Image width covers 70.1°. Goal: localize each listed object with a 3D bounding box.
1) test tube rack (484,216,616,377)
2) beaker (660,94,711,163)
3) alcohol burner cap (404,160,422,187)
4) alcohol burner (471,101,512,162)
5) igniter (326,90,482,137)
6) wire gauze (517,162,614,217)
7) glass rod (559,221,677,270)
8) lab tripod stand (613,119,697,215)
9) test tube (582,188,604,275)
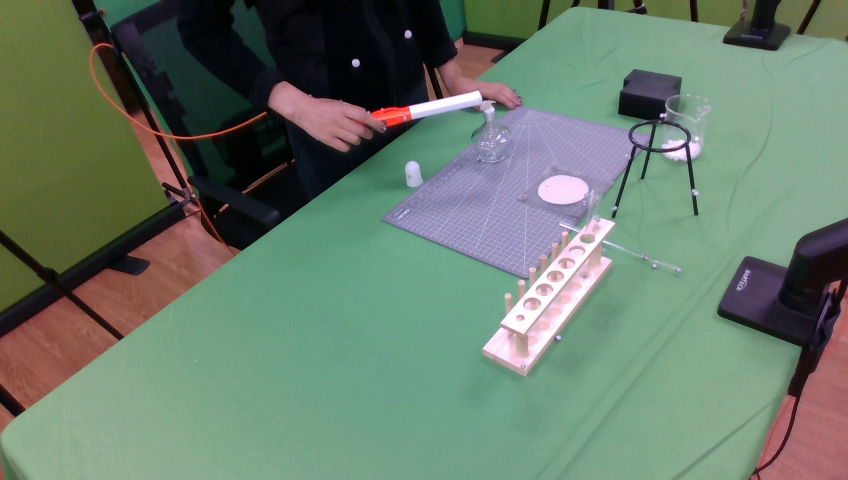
[{"bbox_3d":[0.174,0.064,0.823,0.066,0.085,0.243,23,49,33],"label":"test tube rack"},{"bbox_3d":[0.457,-0.192,1.063,0.074,0.101,0.083,-7,41,4],"label":"beaker"},{"bbox_3d":[-0.022,-0.125,1.118,0.034,0.048,0.033,-4,41,4],"label":"alcohol burner cap"},{"bbox_3d":[0.125,-0.207,1.126,0.078,0.119,0.077,-5,43,5],"label":"alcohol burner"},{"bbox_3d":[-0.036,-0.222,1.061,0.277,0.025,0.057,-12,37,0],"label":"igniter"},{"bbox_3d":[0.245,-0.088,1.046,0.120,0.011,0.125,25,50,32],"label":"wire gauze"},{"bbox_3d":[0.292,0.007,0.927,0.198,0.008,0.008,26,52,36],"label":"glass rod"},{"bbox_3d":[0.369,-0.112,0.958,0.148,0.132,0.147,-4,40,4],"label":"lab tripod stand"},{"bbox_3d":[0.229,-0.007,0.821,0.017,0.151,0.017,-3,42,3],"label":"test tube"}]
